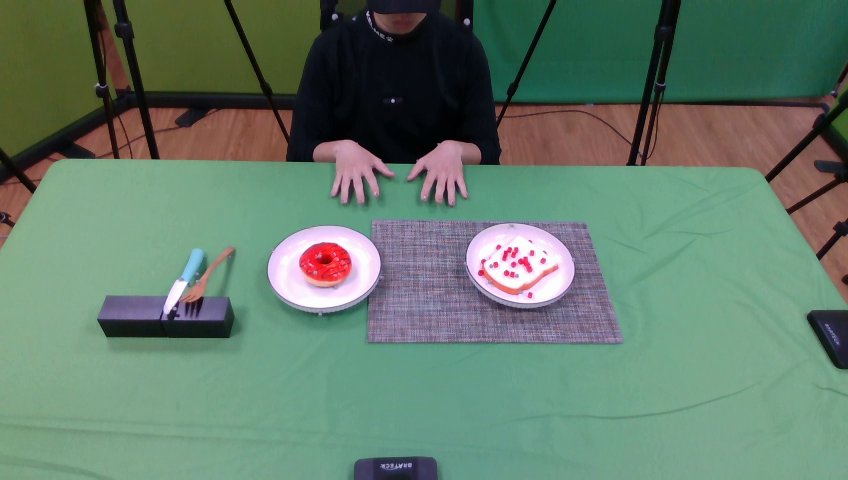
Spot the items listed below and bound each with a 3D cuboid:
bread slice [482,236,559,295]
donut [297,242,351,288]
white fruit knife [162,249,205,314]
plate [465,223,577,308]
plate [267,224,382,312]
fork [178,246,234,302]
[{"bbox_3d":[0.177,0.050,1.147,0.131,0.019,0.104,-32,55,-30],"label":"bread slice"},{"bbox_3d":[-0.182,0.045,1.112,0.099,0.048,0.098,4,45,-4],"label":"donut"},{"bbox_3d":[-0.420,0.070,1.063,0.027,0.016,0.206,-1,29,-2],"label":"white fruit knife"},{"bbox_3d":[0.180,0.051,1.144,0.209,0.038,0.208,2,45,-2],"label":"plate"},{"bbox_3d":[-0.182,0.055,1.120,0.208,0.039,0.206,2,46,-2],"label":"plate"},{"bbox_3d":[-0.380,0.057,1.075,0.028,0.019,0.206,2,28,6],"label":"fork"}]
